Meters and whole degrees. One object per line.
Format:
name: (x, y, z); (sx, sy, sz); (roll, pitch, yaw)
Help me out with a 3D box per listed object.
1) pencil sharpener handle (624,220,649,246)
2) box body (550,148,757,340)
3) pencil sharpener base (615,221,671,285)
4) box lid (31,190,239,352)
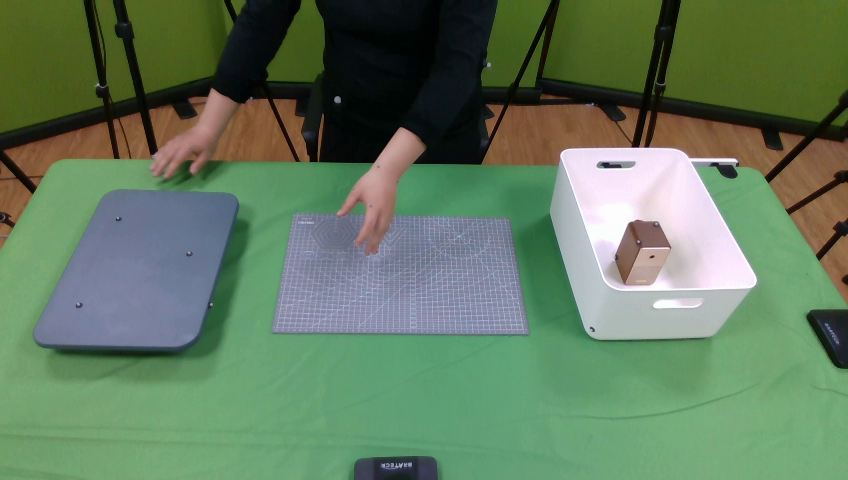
pencil sharpener handle: (0.402, -0.020, 1.163); (0.036, 0.068, 0.030); (5, 44, -10)
box body: (0.395, 0.003, 1.127); (0.254, 0.161, 0.361); (-1, 46, -5)
pencil sharpener base: (0.408, 0.024, 1.136); (0.061, 0.107, 0.076); (-1, 45, -4)
box lid: (-0.491, 0.040, 1.070); (0.263, 0.015, 0.369); (1, 46, -3)
